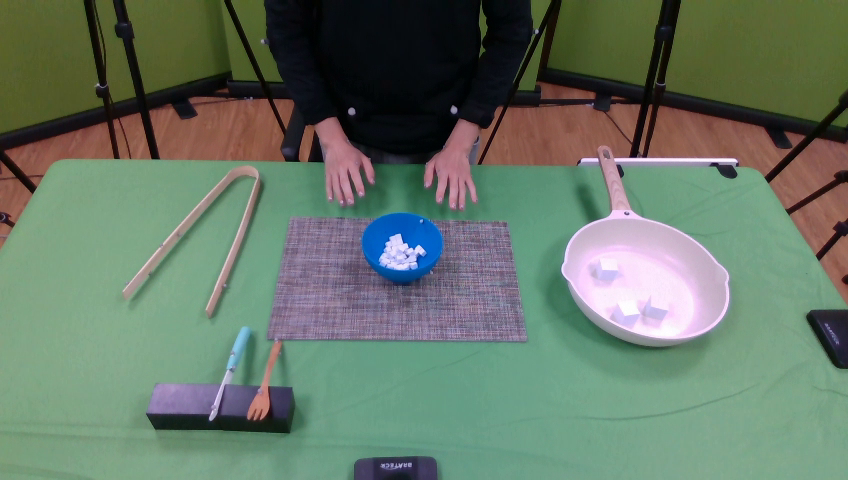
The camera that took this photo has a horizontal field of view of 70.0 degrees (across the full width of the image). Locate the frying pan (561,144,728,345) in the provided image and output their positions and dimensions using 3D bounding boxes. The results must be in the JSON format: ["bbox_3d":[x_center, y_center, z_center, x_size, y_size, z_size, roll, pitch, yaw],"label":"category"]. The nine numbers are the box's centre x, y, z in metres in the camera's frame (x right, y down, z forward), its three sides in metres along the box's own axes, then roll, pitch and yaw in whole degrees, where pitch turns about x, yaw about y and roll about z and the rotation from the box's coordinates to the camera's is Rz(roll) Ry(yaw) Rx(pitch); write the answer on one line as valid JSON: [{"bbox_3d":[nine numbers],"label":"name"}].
[{"bbox_3d":[0.397,-0.008,1.179,0.307,0.103,0.485,2,55,-4],"label":"frying pan"}]

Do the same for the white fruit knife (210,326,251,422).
[{"bbox_3d":[-0.300,0.201,0.941,0.016,0.027,0.206,-2,32,1],"label":"white fruit knife"}]

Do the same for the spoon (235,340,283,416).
[{"bbox_3d":[-0.244,0.207,0.932,0.042,0.022,0.193,28,25,-8],"label":"spoon"}]

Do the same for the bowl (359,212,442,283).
[{"bbox_3d":[-0.044,0.026,1.125,0.151,0.077,0.150,2,46,-2],"label":"bowl"}]

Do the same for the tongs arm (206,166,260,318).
[{"bbox_3d":[-0.367,-0.010,1.175,0.028,0.028,0.385,2,46,1],"label":"tongs arm"}]

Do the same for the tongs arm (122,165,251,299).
[{"bbox_3d":[-0.447,-0.027,1.179,0.051,0.026,0.383,14,46,8],"label":"tongs arm"}]
